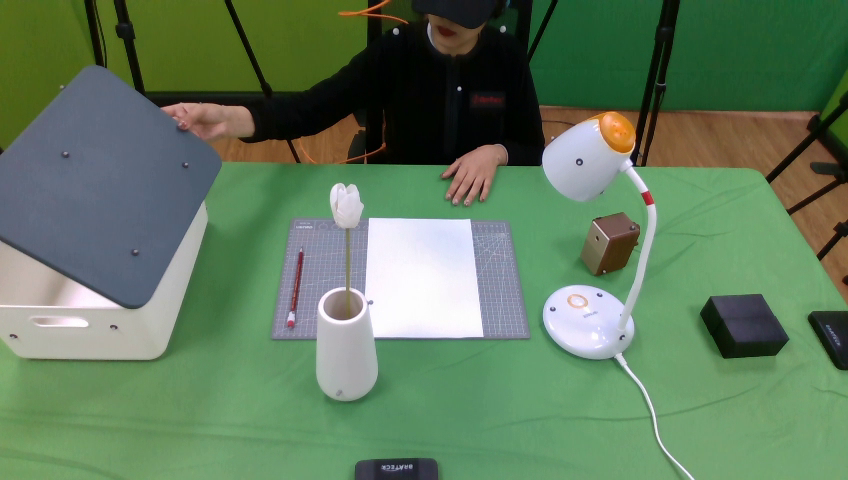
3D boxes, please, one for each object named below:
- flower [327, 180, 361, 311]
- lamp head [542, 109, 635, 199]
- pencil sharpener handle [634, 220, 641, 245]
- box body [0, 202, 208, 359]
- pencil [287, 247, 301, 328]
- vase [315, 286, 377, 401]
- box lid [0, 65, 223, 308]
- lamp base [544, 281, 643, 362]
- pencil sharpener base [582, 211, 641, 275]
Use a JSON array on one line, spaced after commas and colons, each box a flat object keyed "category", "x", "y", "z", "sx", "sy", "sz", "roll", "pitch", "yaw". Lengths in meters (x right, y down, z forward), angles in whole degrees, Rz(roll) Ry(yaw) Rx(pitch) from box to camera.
[{"category": "flower", "x": -0.110, "y": 0.086, "z": 0.867, "sx": 0.044, "sy": 0.363, "sz": 0.038, "roll": 22, "pitch": 34, "yaw": 36}, {"category": "lamp head", "x": 0.253, "y": -0.131, "z": 0.893, "sx": 0.113, "sy": 0.123, "sz": 0.112, "roll": 10, "pitch": 66, "yaw": -24}, {"category": "pencil sharpener handle", "x": 0.405, "y": -0.015, "z": 1.161, "sx": 0.031, "sy": 0.068, "sz": 0.035, "roll": -15, "pitch": 44, "yaw": -17}, {"category": "box body", "x": -0.541, "y": 0.021, "z": 1.042, "sx": 0.254, "sy": 0.161, "sz": 0.361, "roll": 1, "pitch": 46, "yaw": -3}, {"category": "pencil", "x": -0.236, "y": 0.081, "z": 1.107, "sx": 0.012, "sy": 0.012, "sz": 0.193, "roll": 0, "pitch": 45, "yaw": -4}, {"category": "vase", "x": -0.119, "y": 0.159, "z": 0.911, "sx": 0.098, "sy": 0.201, "sz": 0.097, "roll": 2, "pitch": 47, "yaw": -2}, {"category": "box lid", "x": -0.472, "y": -0.095, "z": 0.931, "sx": 0.264, "sy": 0.015, "sz": 0.369, "roll": 39, "pitch": 38, "yaw": -28}, {"category": "lamp base", "x": 0.304, "y": 0.095, "z": 1.014, "sx": 0.161, "sy": 0.181, "sz": 0.178, "roll": -24, "pitch": 54, "yaw": -24}, {"category": "pencil sharpener base", "x": 0.357, "y": 0.005, "z": 1.156, "sx": 0.077, "sy": 0.107, "sz": 0.061, "roll": -15, "pitch": 48, "yaw": -18}]
